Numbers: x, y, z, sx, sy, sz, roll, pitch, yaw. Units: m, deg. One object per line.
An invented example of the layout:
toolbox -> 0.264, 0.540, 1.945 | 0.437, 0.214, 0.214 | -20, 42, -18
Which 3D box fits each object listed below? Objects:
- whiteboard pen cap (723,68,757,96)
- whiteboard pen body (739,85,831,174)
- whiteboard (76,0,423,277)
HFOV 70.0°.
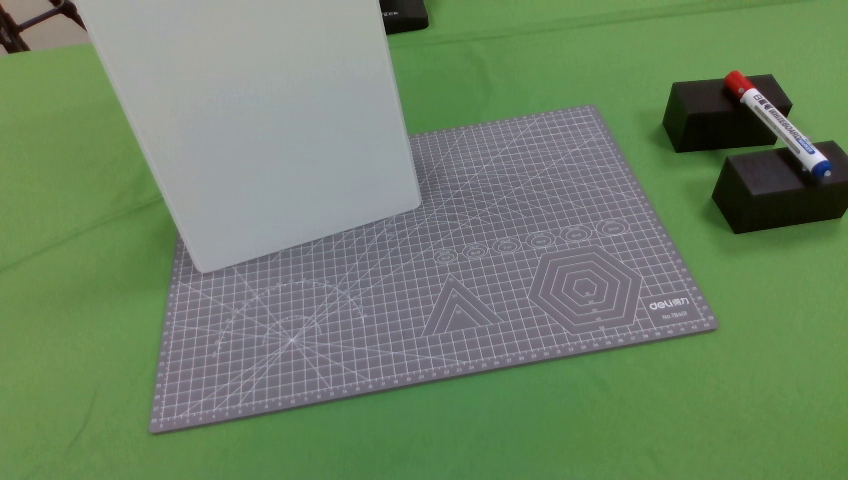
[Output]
whiteboard pen cap -> 0.304, -0.150, 0.583 | 0.017, 0.017, 0.032 | -15, 49, -6
whiteboard pen body -> 0.316, -0.109, 0.546 | 0.017, 0.017, 0.139 | -13, 49, -5
whiteboard -> -0.148, -0.158, 0.547 | 0.217, 0.308, 0.142 | -17, 31, -8
